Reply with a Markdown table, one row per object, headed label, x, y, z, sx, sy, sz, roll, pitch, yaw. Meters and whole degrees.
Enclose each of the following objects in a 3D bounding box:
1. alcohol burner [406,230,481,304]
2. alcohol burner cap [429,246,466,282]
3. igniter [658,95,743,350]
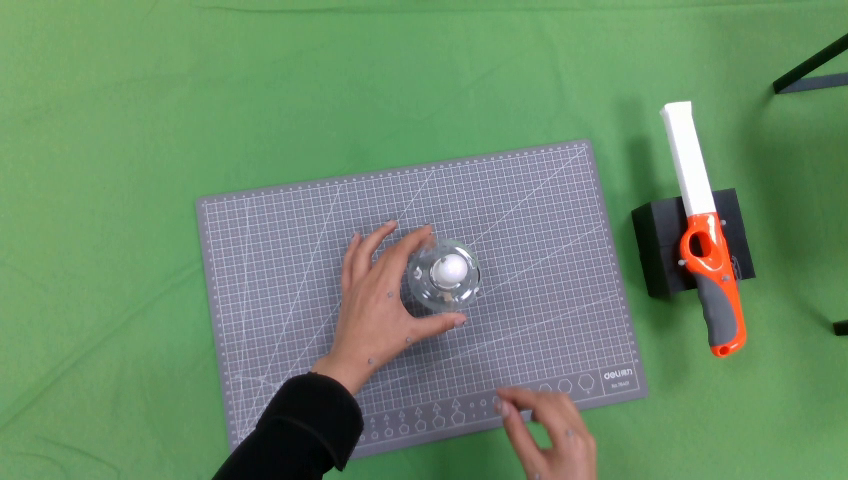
| label | x | y | z | sx | sy | sz | roll | pitch | yaw |
| --- | --- | --- | --- | --- | --- | --- | --- | --- | --- |
| alcohol burner | 0.022 | 0.025 | 0.613 | 0.078 | 0.119 | 0.077 | 1 | 82 | -7 |
| alcohol burner cap | 0.024 | 0.022 | 0.583 | 0.034 | 0.048 | 0.033 | 2 | 80 | -8 |
| igniter | 0.294 | -0.023 | 0.647 | 0.057 | 0.025 | 0.275 | -7 | 80 | -6 |
